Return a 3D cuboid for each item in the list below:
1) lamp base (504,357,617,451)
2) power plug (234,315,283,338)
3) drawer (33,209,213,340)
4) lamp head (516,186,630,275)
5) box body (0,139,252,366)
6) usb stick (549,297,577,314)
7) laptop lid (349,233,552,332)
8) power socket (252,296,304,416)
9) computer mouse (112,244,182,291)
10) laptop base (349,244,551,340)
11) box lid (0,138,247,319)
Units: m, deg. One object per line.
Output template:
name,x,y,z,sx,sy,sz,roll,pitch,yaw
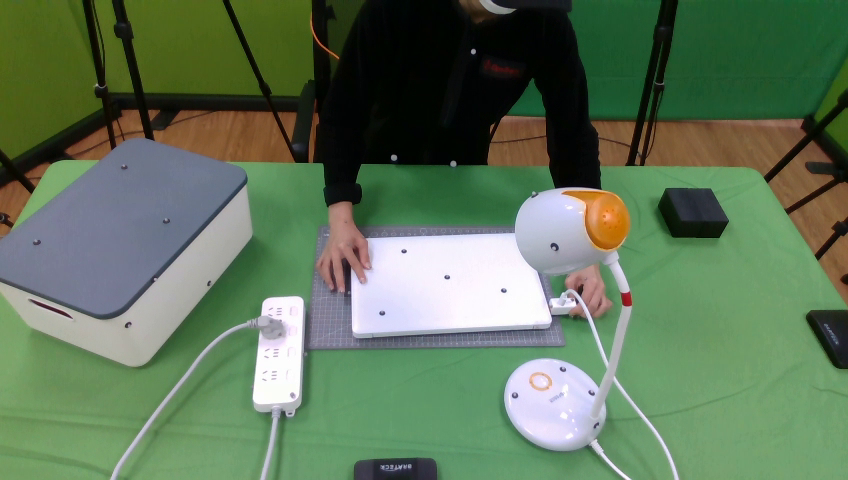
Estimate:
lamp base,0.220,0.211,0.903,0.160,0.181,0.178,-33,59,-30
power plug,-0.269,0.143,1.000,0.072,0.053,0.035,4,47,2
drawer,-0.509,0.054,1.046,0.194,0.073,0.211,15,43,11
lamp head,0.188,-0.013,0.728,0.112,0.112,0.122,-24,9,-25
box body,-0.496,0.013,1.049,0.254,0.161,0.362,17,47,12
usb stick,0.242,0.118,1.087,0.059,0.027,0.021,-4,52,-4
laptop lid,0.041,0.071,1.119,0.357,0.013,0.240,-1,43,-5
power socket,-0.237,0.182,0.997,0.072,0.033,0.225,-3,47,-5
computer mouse,-0.493,0.046,1.078,0.117,0.041,0.062,24,41,13
laptop base,0.040,0.081,1.126,0.355,0.023,0.234,-2,43,-6
box lid,-0.493,-0.037,0.994,0.263,0.015,0.370,17,46,12
